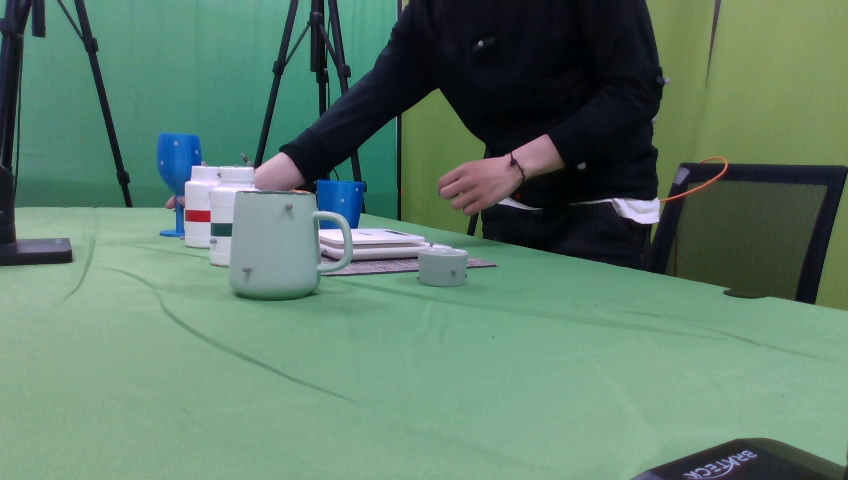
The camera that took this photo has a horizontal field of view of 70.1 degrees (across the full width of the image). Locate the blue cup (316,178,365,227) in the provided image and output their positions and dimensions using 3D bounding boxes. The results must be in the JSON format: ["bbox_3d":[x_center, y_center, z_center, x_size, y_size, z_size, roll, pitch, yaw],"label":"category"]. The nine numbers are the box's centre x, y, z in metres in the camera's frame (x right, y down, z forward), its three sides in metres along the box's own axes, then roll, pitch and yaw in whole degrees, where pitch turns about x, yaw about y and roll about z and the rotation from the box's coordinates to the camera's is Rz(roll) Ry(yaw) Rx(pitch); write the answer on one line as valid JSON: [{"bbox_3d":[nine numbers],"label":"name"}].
[{"bbox_3d":[-0.149,-0.057,1.072,0.093,0.100,0.092,3,8,0],"label":"blue cup"}]

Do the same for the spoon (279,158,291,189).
[{"bbox_3d":[-0.280,-0.103,1.251,0.042,0.193,0.021,8,-41,-31],"label":"spoon"}]

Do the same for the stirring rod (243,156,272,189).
[{"bbox_3d":[-0.304,-0.099,1.201,0.006,0.177,0.014,-27,38,7],"label":"stirring rod"}]

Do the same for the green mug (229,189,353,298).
[{"bbox_3d":[-0.135,0.002,0.618,0.125,0.105,0.092,2,7,4],"label":"green mug"}]

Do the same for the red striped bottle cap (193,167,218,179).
[{"bbox_3d":[-0.329,-0.103,0.921,0.044,0.017,0.044,-1,9,0],"label":"red striped bottle cap"}]

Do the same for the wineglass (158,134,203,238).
[{"bbox_3d":[-0.417,-0.093,1.037,0.074,0.172,0.073,3,7,0],"label":"wineglass"}]

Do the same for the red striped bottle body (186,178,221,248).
[{"bbox_3d":[-0.331,-0.050,0.927,0.063,0.119,0.063,2,7,0],"label":"red striped bottle body"}]

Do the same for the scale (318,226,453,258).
[{"bbox_3d":[-0.066,0.001,0.906,0.202,0.031,0.148,-2,8,-31],"label":"scale"}]

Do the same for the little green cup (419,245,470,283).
[{"bbox_3d":[0.023,0.028,0.712,0.061,0.038,0.061,2,6,0],"label":"little green cup"}]

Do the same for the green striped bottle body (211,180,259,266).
[{"bbox_3d":[-0.243,-0.029,0.784,0.063,0.119,0.063,2,7,0],"label":"green striped bottle body"}]

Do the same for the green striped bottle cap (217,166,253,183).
[{"bbox_3d":[-0.242,-0.085,0.777,0.044,0.020,0.044,2,8,0],"label":"green striped bottle cap"}]
